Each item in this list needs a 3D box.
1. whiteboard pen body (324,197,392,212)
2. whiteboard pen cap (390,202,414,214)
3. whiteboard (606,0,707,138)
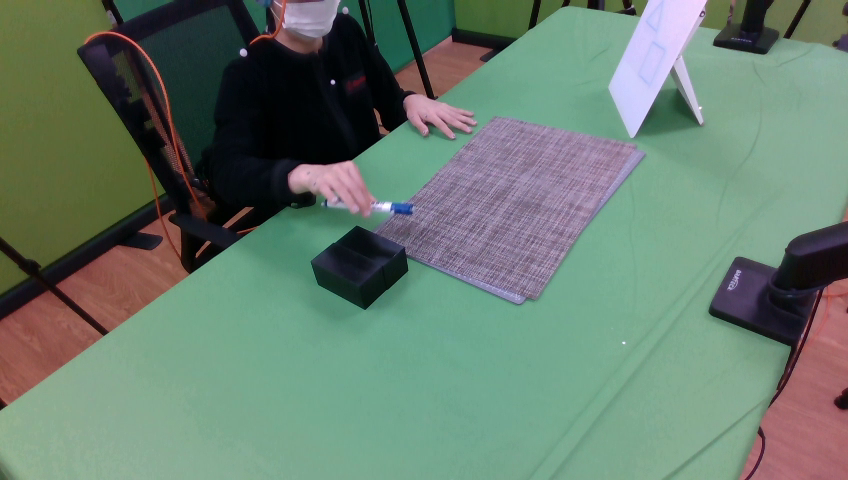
[{"bbox_3d":[-0.089,-0.052,0.912,0.140,0.017,0.017,6,42,23],"label":"whiteboard pen body"},{"bbox_3d":[-0.033,-0.047,0.887,0.033,0.018,0.018,6,42,22],"label":"whiteboard pen cap"},{"bbox_3d":[0.496,-0.359,1.147,0.144,0.305,0.216,11,40,-7],"label":"whiteboard"}]
